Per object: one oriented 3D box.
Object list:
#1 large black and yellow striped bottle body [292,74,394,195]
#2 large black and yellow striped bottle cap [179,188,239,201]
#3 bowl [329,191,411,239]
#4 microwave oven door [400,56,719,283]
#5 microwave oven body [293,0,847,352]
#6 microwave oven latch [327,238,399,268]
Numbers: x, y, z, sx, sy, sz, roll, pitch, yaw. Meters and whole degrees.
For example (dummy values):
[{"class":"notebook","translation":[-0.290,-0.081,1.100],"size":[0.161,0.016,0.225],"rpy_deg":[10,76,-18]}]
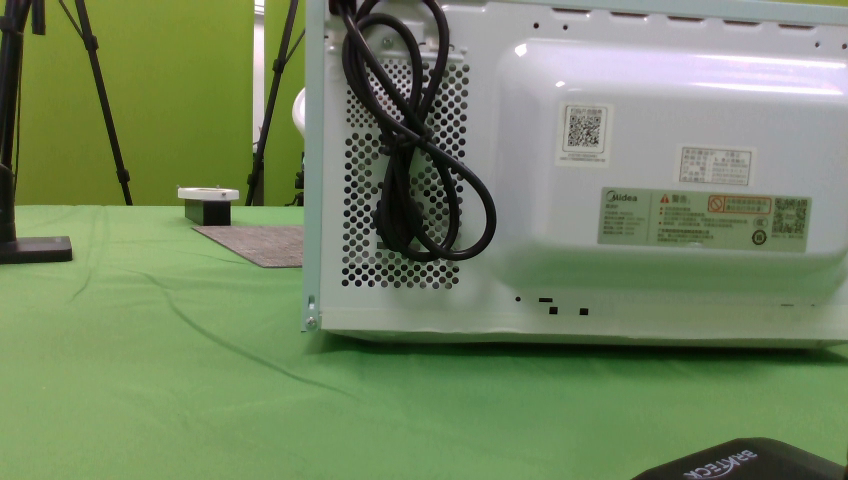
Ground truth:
[{"class":"large black and yellow striped bottle body","translation":[-0.126,-0.169,1.012],"size":[0.130,0.130,0.184],"rpy_deg":[5,-28,18]},{"class":"large black and yellow striped bottle cap","translation":[-0.434,-0.093,1.226],"size":[0.115,0.019,0.115],"rpy_deg":[3,9,0]},{"class":"bowl","translation":[-0.100,-0.046,1.104],"size":[0.151,0.077,0.151],"rpy_deg":[3,8,0]},{"class":"microwave oven door","translation":[0.155,-0.077,0.698],"size":[0.356,0.243,0.039],"rpy_deg":[2,8,-5]},{"class":"microwave oven body","translation":[0.122,-0.055,0.550],"size":[0.442,0.260,0.325],"rpy_deg":[3,7,-5]},{"class":"microwave oven latch","translation":[-0.069,0.015,0.694],"size":[0.079,0.029,0.030],"rpy_deg":[3,7,-3]}]
